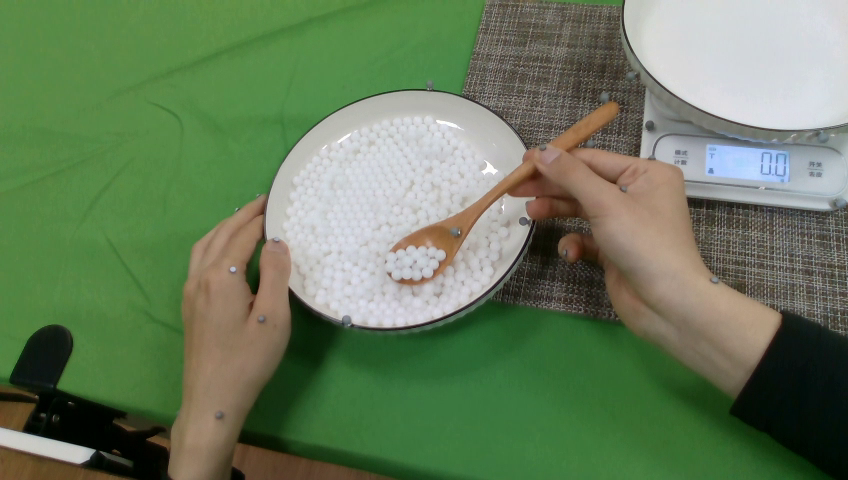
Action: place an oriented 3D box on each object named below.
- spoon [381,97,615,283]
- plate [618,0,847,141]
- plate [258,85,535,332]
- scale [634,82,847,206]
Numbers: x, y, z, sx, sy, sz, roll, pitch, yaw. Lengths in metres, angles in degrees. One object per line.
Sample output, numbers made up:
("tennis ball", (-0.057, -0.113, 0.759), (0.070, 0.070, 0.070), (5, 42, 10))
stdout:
("spoon", (0.050, -0.035, 0.414), (0.194, 0.022, 0.041), (-38, 59, 11))
("plate", (0.251, -0.156, 0.452), (0.207, 0.039, 0.206), (-3, 63, 6))
("plate", (-0.020, -0.026, 0.461), (0.209, 0.038, 0.207), (-4, 63, 7))
("scale", (0.247, -0.123, 0.473), (0.148, 0.032, 0.199), (8, 65, 12))
